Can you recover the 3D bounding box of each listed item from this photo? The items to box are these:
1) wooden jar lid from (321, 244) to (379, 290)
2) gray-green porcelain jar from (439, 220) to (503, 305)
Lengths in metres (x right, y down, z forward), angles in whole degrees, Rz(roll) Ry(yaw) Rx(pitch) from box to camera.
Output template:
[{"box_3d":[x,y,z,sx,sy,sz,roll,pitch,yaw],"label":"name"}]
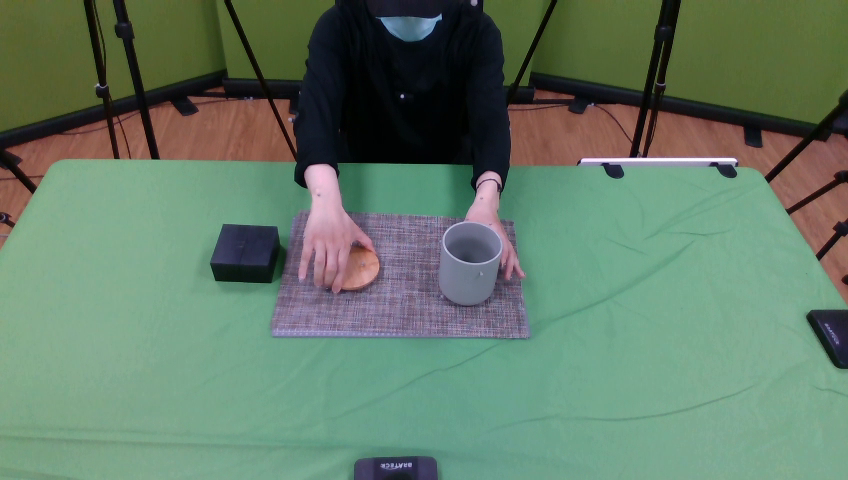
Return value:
[{"box_3d":[-0.137,0.053,1.131,0.108,0.021,0.107,1,45,-1],"label":"wooden jar lid"},{"box_3d":[0.080,0.045,1.078,0.106,0.127,0.105,2,46,-2],"label":"gray-green porcelain jar"}]
